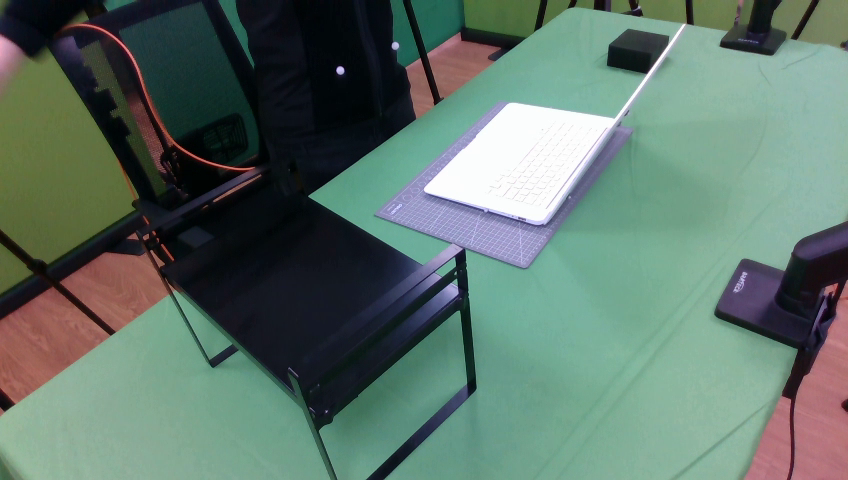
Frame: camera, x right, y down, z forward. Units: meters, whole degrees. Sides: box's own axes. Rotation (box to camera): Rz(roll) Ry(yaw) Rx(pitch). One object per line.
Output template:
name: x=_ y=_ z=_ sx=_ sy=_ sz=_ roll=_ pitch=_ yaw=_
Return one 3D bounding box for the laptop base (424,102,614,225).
laptop base: x=0.188 y=-0.156 z=1.131 sx=0.234 sy=0.023 sz=0.355 roll=16 pitch=46 yaw=30

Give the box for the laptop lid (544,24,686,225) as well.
laptop lid: x=0.315 y=-0.191 z=0.987 sx=0.013 sy=0.241 sz=0.357 roll=35 pitch=51 yaw=9
